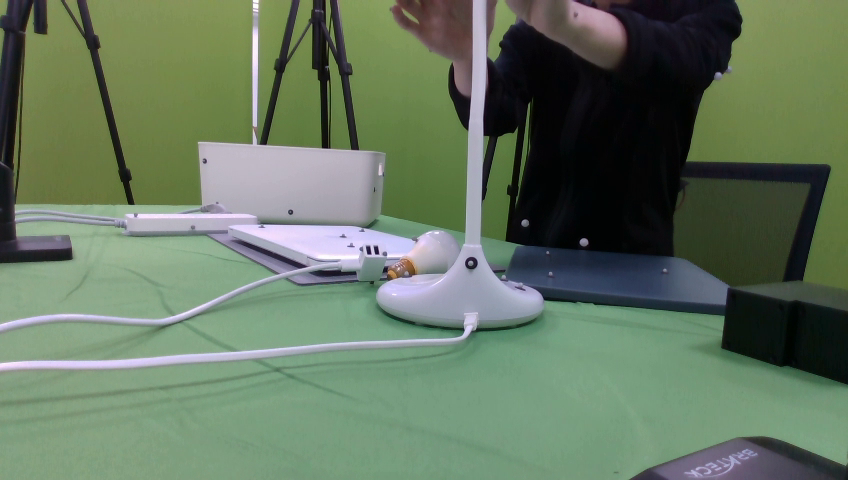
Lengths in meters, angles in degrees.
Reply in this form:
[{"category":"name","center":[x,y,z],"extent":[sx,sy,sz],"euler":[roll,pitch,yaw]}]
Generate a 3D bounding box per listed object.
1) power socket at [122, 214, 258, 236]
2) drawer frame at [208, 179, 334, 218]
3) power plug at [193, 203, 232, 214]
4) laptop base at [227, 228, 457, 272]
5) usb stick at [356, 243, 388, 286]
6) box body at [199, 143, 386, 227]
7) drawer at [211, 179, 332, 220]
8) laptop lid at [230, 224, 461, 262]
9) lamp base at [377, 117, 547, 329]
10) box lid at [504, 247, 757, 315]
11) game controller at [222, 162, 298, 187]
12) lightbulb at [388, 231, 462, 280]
[{"category":"power socket","center":[-0.398,-0.028,1.049],"extent":[0.228,0.032,0.072],"euler":[-3,8,-34]},{"category":"drawer frame","center":[-0.327,-0.093,1.328],"extent":[0.213,0.082,0.202],"euler":[0,5,6]},{"category":"power plug","center":[-0.393,-0.042,1.139],"extent":[0.072,0.052,0.035],"euler":[-14,1,31]},{"category":"laptop base","center":[-0.122,0.012,0.889],"extent":[0.237,0.023,0.352],"euler":[2,6,-35]},{"category":"usb stick","center":[-0.058,0.029,0.658],"extent":[0.027,0.059,0.021],"euler":[-5,52,-18]},{"category":"box body","center":[-0.276,-0.124,1.335],"extent":[0.364,0.160,0.254],"euler":[3,7,1]},{"category":"drawer","center":[-0.328,-0.095,1.332],"extent":[0.212,0.073,0.194],"euler":[5,8,6]},{"category":"laptop lid","center":[-0.120,0.000,0.889],"extent":[0.243,0.013,0.355],"euler":[1,7,-33]},{"category":"lamp base","center":[0.041,-0.019,0.552],"extent":[0.161,0.180,0.179],"euler":[1,10,-10]},{"category":"box lid","center":[0.244,0.044,0.793],"extent":[0.263,0.015,0.372],"euler":[4,7,11]},{"category":"game controller","center":[-0.357,-0.143,1.322],"extent":[0.156,0.051,0.097],"euler":[1,3,-16]},{"category":"lightbulb","center":[-0.001,0.026,0.703],"extent":[0.059,0.059,0.108],"euler":[10,26,43]}]
